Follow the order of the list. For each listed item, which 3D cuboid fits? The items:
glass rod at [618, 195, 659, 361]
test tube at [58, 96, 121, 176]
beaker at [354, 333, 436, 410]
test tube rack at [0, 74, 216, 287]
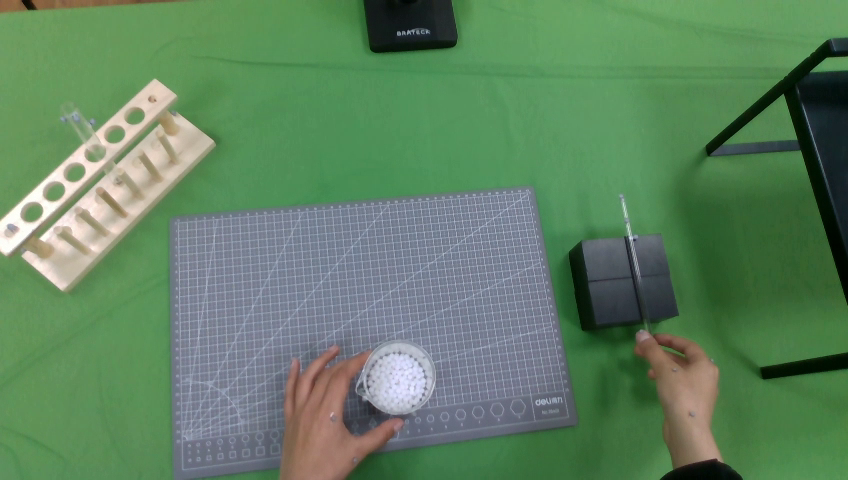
[{"bbox_3d":[0.249,0.040,0.705,0.008,0.008,0.198,-5,75,-7],"label":"glass rod"},{"bbox_3d":[-0.352,-0.106,0.647,0.017,0.151,0.017,3,69,-8],"label":"test tube"},{"bbox_3d":[-0.033,0.146,0.650,0.084,0.100,0.073,-16,75,-9],"label":"beaker"},{"bbox_3d":[-0.356,-0.067,0.687,0.066,0.085,0.242,38,74,7],"label":"test tube rack"}]
